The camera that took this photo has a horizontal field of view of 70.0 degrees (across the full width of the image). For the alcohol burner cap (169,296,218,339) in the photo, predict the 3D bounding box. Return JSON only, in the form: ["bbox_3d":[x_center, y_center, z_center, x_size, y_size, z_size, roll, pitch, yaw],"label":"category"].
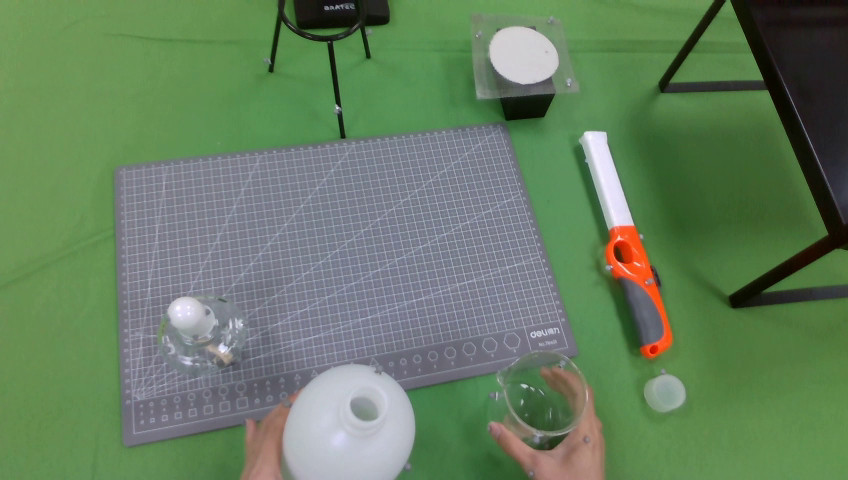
[{"bbox_3d":[-0.198,0.064,0.515,0.034,0.048,0.033,1,72,-4],"label":"alcohol burner cap"}]

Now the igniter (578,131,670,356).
[{"bbox_3d":[0.225,-0.004,0.690,0.057,0.025,0.274,-1,66,-19],"label":"igniter"}]

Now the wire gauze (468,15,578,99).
[{"bbox_3d":[0.116,-0.222,0.730,0.122,0.011,0.124,-1,66,-8],"label":"wire gauze"}]

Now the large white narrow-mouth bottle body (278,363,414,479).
[{"bbox_3d":[-0.062,0.154,0.483,0.102,0.195,0.101,7,59,-12],"label":"large white narrow-mouth bottle body"}]

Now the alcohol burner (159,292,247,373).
[{"bbox_3d":[-0.203,0.078,0.548,0.078,0.120,0.077,4,64,-7],"label":"alcohol burner"}]

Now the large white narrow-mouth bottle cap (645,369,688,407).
[{"bbox_3d":[0.250,0.153,0.628,0.038,0.024,0.037,3,65,-6],"label":"large white narrow-mouth bottle cap"}]

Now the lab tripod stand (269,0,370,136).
[{"bbox_3d":[-0.109,-0.212,0.682,0.149,0.132,0.147,4,66,-8],"label":"lab tripod stand"}]

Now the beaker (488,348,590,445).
[{"bbox_3d":[0.099,0.149,0.566,0.084,0.101,0.073,19,64,4],"label":"beaker"}]
